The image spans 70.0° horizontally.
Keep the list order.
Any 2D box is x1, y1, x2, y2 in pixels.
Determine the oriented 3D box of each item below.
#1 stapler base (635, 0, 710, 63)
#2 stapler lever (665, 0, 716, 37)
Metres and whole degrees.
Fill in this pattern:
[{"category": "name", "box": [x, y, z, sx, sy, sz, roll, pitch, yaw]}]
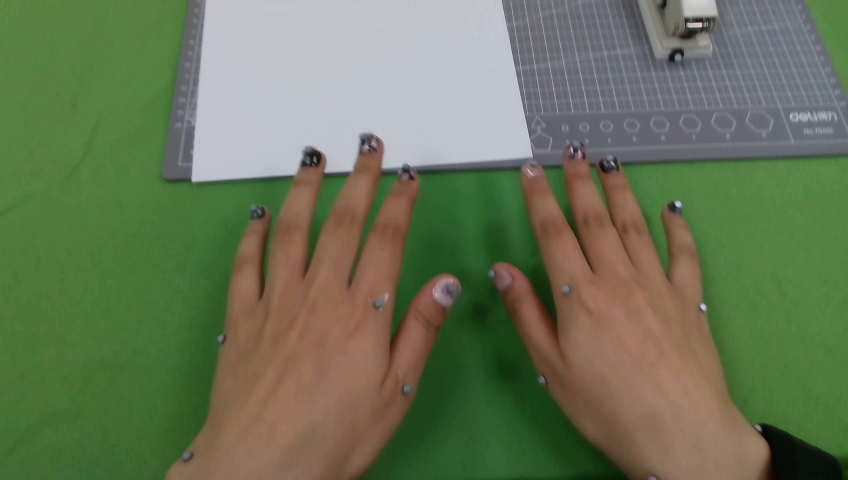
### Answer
[{"category": "stapler base", "box": [0.175, -0.186, 0.438, 0.041, 0.024, 0.129, -4, 67, -1]}, {"category": "stapler lever", "box": [0.175, -0.195, 0.414, 0.027, 0.040, 0.117, -4, 67, -1]}]
